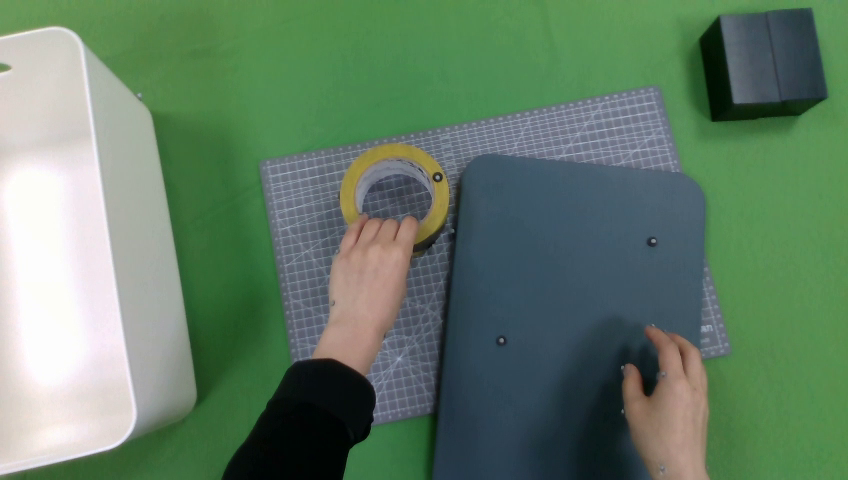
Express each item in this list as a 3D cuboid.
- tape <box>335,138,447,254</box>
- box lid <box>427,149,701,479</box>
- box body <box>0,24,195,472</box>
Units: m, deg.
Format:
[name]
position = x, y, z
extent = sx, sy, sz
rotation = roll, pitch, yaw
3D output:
[tape]
position = -0.032, -0.044, 0.627
extent = 0.117, 0.053, 0.116
rotation = 0, 80, 1
[box lid]
position = 0.149, 0.090, 0.630
extent = 0.263, 0.015, 0.370
rotation = 6, 82, 1
[box body]
position = -0.383, 0.021, 0.566
extent = 0.254, 0.161, 0.362
rotation = -13, 81, -2
